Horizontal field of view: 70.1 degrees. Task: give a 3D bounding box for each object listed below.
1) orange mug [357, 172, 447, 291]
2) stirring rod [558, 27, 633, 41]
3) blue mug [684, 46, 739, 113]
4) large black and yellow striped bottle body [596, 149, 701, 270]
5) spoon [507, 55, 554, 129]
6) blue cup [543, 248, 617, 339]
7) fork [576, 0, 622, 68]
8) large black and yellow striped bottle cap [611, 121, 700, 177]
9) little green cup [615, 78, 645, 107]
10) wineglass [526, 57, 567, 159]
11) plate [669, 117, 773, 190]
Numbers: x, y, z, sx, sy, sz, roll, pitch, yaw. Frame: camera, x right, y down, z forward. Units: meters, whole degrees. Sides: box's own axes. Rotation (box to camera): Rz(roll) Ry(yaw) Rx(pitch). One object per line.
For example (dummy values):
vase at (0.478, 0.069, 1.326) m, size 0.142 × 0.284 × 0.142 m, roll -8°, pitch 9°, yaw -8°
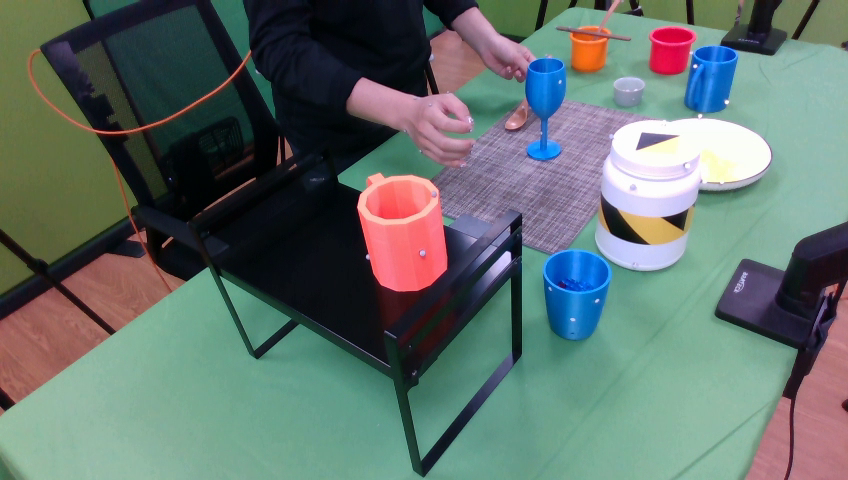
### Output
orange mug at (-0.030, -0.018, 0.669) m, size 0.084 × 0.101 × 0.125 m, roll -23°, pitch 47°, yaw -16°
stirring rod at (0.381, -0.463, 1.356) m, size 0.175 × 0.006 × 0.014 m, roll 21°, pitch 47°, yaw 30°
blue mug at (0.556, -0.310, 1.190) m, size 0.117 × 0.106 × 0.081 m, roll -32°, pitch 46°, yaw -25°
large black and yellow striped bottle body at (0.323, -0.062, 0.877) m, size 0.131 × 0.185 × 0.130 m, roll -4°, pitch 40°, yaw 4°
spoon at (0.222, -0.304, 1.238) m, size 0.041 × 0.022 × 0.193 m, roll 17°, pitch 76°, yaw 44°
blue cup at (0.199, 0.076, 0.797) m, size 0.092 × 0.100 × 0.092 m, roll -4°, pitch 39°, yaw 4°
fork at (0.409, -0.484, 1.381) m, size 0.028 × 0.019 × 0.207 m, roll 37°, pitch 101°, yaw 46°
large black and yellow striped bottle cap at (0.315, -0.126, 0.823) m, size 0.115 × 0.019 × 0.114 m, roll -4°, pitch 42°, yaw 4°
little green cup at (0.426, -0.306, 1.257) m, size 0.061 × 0.039 × 0.061 m, roll -4°, pitch 40°, yaw 4°
wineglass at (0.221, -0.237, 1.097) m, size 0.074 × 0.173 × 0.073 m, roll -5°, pitch 41°, yaw 4°
plate at (0.495, -0.148, 1.063) m, size 0.209 × 0.038 × 0.208 m, roll -5°, pitch 40°, yaw 4°
